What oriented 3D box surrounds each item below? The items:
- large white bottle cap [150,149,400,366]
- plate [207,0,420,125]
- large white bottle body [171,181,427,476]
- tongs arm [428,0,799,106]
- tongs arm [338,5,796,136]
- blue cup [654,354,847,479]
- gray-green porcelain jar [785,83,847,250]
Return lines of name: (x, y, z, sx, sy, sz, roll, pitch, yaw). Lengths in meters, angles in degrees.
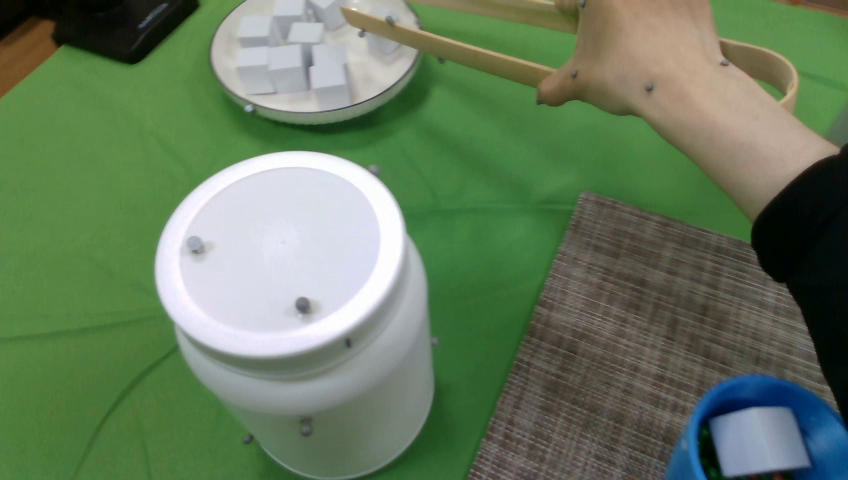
large white bottle cap: (-0.068, 0.003, 0.285, 0.115, 0.018, 0.113, -1, 56, 1)
plate: (-0.106, -0.187, 0.605, 0.207, 0.039, 0.205, -1, 56, 1)
large white bottle body: (-0.065, 0.052, 0.356, 0.130, 0.186, 0.129, -1, 56, 1)
tongs arm: (0.092, -0.172, 0.474, 0.384, 0.028, 0.028, 29, 68, 35)
tongs arm: (0.072, -0.147, 0.465, 0.381, 0.027, 0.050, 31, 72, 35)
blue cup: (0.173, 0.130, 0.341, 0.092, 0.101, 0.092, -2, 55, 3)
gray-green porcelain jar: (0.346, -0.060, 0.453, 0.106, 0.127, 0.105, -1, 56, 2)
